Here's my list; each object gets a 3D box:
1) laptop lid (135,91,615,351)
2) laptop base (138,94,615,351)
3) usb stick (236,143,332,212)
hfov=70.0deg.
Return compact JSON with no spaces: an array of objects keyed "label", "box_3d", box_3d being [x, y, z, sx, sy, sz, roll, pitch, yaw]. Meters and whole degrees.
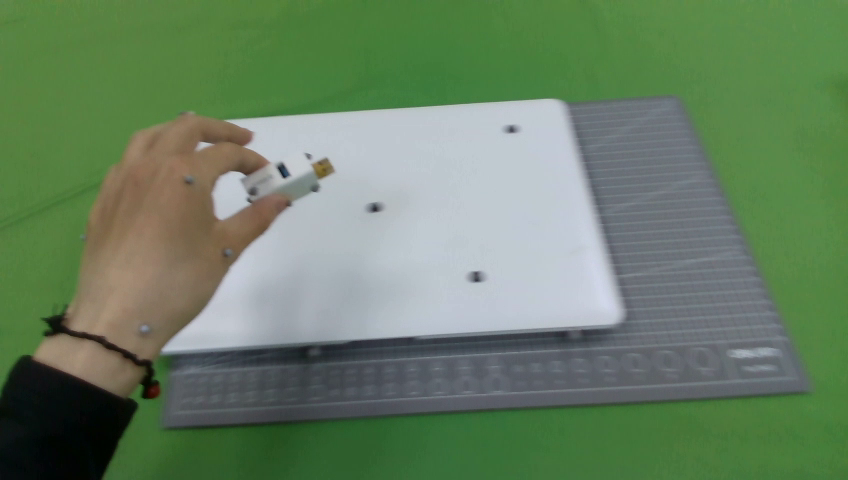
[{"label":"laptop lid","box_3d":[-0.041,-0.029,0.496,0.357,0.013,0.239,-2,57,2]},{"label":"laptop base","box_3d":[-0.040,-0.024,0.507,0.354,0.023,0.233,-4,59,0]},{"label":"usb stick","box_3d":[-0.090,-0.044,0.397,0.059,0.027,0.021,-28,64,-13]}]
